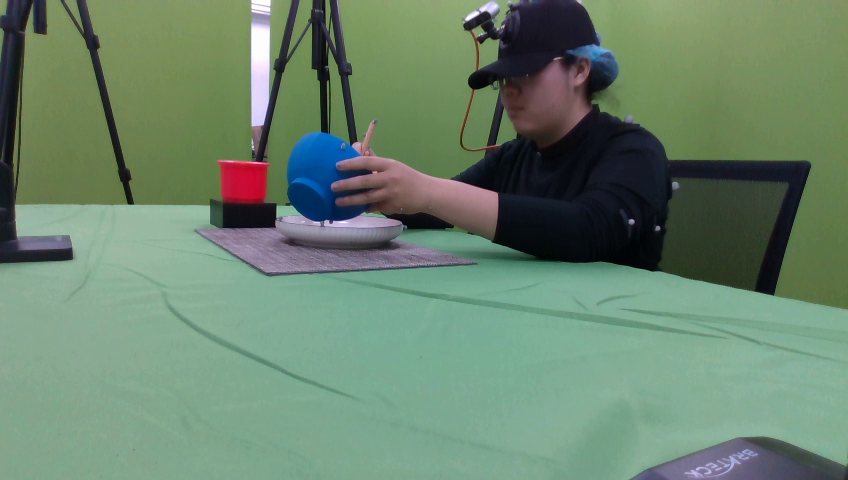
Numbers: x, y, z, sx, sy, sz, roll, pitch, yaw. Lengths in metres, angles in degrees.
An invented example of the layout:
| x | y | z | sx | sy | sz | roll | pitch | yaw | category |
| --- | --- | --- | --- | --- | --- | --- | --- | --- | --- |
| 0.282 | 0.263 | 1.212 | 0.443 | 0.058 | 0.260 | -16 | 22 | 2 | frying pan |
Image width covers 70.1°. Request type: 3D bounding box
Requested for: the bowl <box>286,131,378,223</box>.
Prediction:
| x | y | z | sx | sy | sz | roll | pitch | yaw | category |
| --- | --- | --- | --- | --- | --- | --- | --- | --- | --- |
| -0.154 | -0.079 | 0.912 | 0.150 | 0.152 | 0.077 | 6 | 43 | 32 | bowl |

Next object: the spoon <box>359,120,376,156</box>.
| x | y | z | sx | sy | sz | roll | pitch | yaw | category |
| --- | --- | --- | --- | --- | --- | --- | --- | --- | --- |
| -0.116 | -0.127 | 1.005 | 0.022 | 0.194 | 0.041 | 29 | -30 | -8 | spoon |

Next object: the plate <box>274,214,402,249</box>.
| x | y | z | sx | sy | sz | roll | pitch | yaw | category |
| --- | --- | --- | --- | --- | --- | --- | --- | --- | --- |
| -0.141 | -0.015 | 0.993 | 0.208 | 0.039 | 0.207 | 3 | 7 | 0 | plate |
